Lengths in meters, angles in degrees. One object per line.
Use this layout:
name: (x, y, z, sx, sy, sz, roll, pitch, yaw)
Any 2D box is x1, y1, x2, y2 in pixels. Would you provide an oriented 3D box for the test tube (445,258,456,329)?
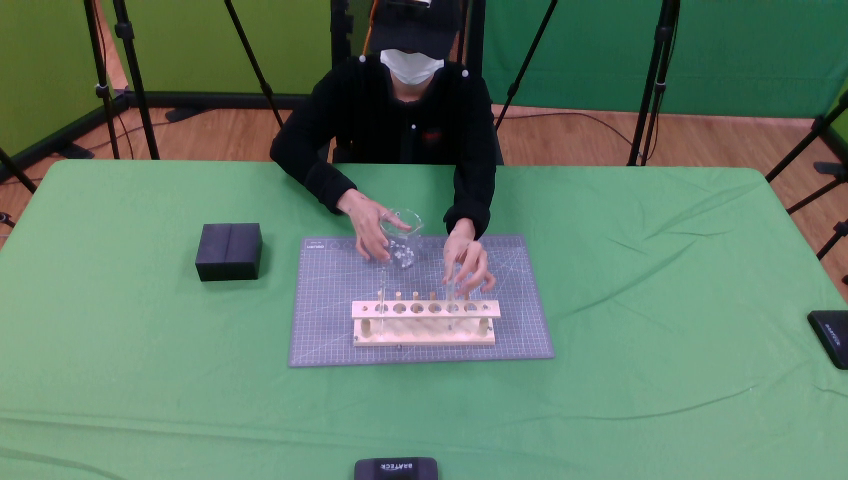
test tube: (0.042, 0.089, 0.967, 0.017, 0.151, 0.017, -1, 40, 1)

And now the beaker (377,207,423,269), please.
beaker: (-0.046, 0.000, 1.138, 0.084, 0.101, 0.073, 2, 46, -3)

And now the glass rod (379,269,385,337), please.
glass rod: (-0.066, 0.104, 0.953, 0.008, 0.200, 0.008, 3, 52, -3)

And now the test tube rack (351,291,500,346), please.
test tube rack: (0.000, 0.129, 1.026, 0.242, 0.085, 0.066, 0, 46, -4)
